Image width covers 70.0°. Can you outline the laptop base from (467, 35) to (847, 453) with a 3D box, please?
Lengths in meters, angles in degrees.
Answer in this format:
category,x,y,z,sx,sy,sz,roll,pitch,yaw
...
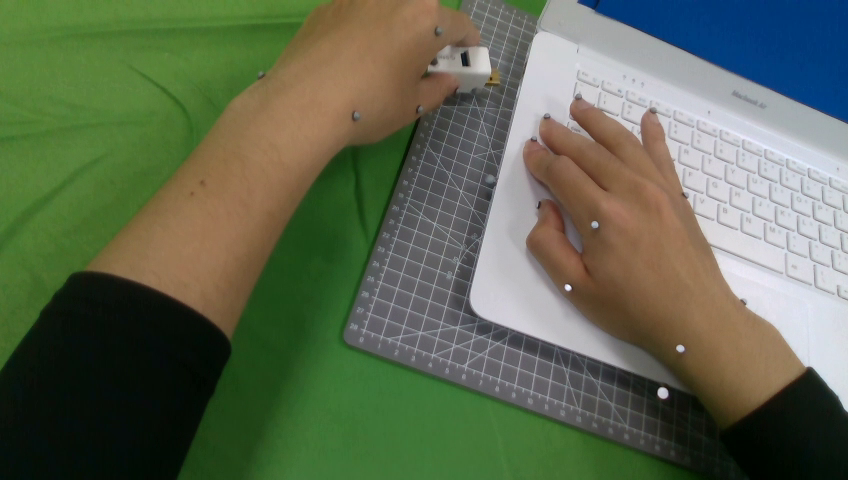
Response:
category,x,y,z,sx,sy,sz,roll,pitch,yaw
laptop base,0.212,0.007,0.422,0.355,0.023,0.234,20,63,-8

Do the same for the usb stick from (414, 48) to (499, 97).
category,x,y,z,sx,sy,sz,roll,pitch,yaw
usb stick,0.025,-0.111,0.402,0.059,0.027,0.021,-2,67,-20

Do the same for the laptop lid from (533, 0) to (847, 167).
category,x,y,z,sx,sy,sz,roll,pitch,yaw
laptop lid,0.281,-0.174,0.405,0.357,0.243,0.013,19,39,-7
